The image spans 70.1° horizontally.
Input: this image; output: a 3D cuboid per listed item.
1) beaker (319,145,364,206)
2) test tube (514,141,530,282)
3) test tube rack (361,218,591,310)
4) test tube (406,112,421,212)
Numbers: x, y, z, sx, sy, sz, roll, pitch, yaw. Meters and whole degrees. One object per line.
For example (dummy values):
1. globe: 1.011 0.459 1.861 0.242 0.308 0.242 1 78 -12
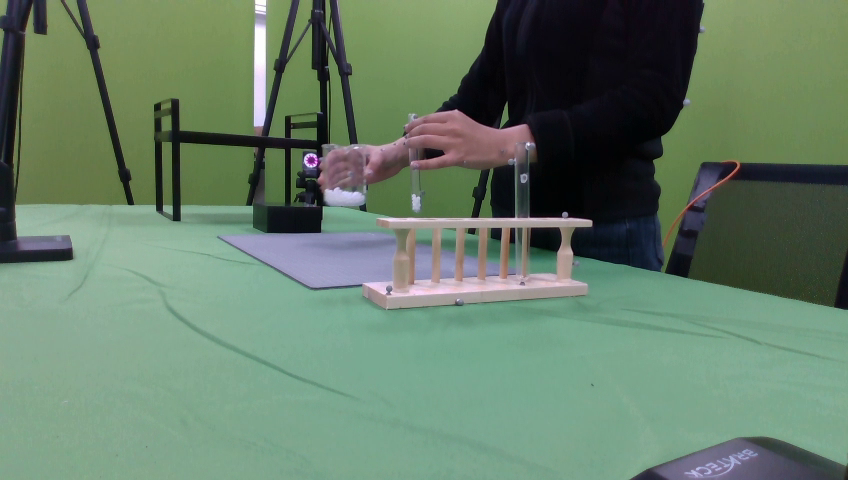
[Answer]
1. beaker: -0.135 -0.106 0.999 0.074 0.100 0.084 -2 7 -11
2. test tube: 0.103 -0.028 0.636 0.017 0.150 0.017 -2 12 1
3. test tube rack: 0.059 0.018 0.640 0.243 0.085 0.066 -1 8 -27
4. test tube: -0.016 -0.116 0.902 0.017 0.150 0.017 -3 -2 0
